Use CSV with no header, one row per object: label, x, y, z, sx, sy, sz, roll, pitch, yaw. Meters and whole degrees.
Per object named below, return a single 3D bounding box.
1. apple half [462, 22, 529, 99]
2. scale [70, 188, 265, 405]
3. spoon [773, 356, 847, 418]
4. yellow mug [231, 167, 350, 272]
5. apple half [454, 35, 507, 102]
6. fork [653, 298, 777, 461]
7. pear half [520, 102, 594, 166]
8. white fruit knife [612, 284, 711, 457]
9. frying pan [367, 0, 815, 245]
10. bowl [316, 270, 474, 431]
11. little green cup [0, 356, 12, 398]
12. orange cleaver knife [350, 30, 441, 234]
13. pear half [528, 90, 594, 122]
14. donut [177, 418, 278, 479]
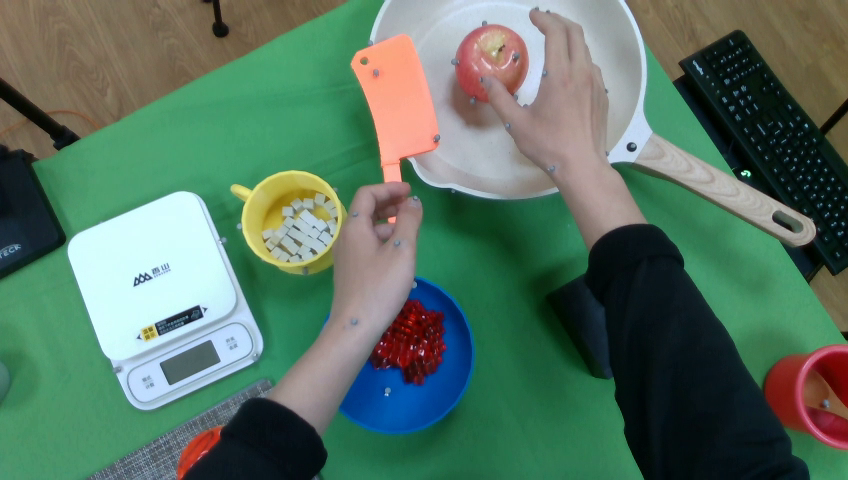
apple half,0.083,-0.199,0.658,0.053,0.075,0.080,-37,79,-10
scale,-0.269,0.057,0.637,0.149,0.031,0.200,-24,82,-4
spoon,0.416,0.177,0.569,0.041,0.022,0.191,-34,38,-6
yellow mug,-0.145,-0.027,0.635,0.130,0.064,0.100,28,82,5
apple half,0.052,-0.175,0.653,0.033,0.081,0.081,-37,82,-12
fork,0.298,0.144,0.613,0.028,0.018,0.208,-38,98,-8
pear half,0.138,-0.110,0.626,0.076,0.110,0.056,8,81,3
white fruit knife,0.237,0.133,0.607,0.016,0.027,0.208,-31,97,-4
frying pan,0.171,-0.127,0.637,0.485,0.103,0.306,33,82,13
bowl,-0.027,0.109,0.609,0.151,0.077,0.151,0,81,-1
little green cup,-0.459,0.142,0.618,0.061,0.039,0.061,0,80,0
orange cleaver knife,-0.023,-0.112,0.614,0.077,0.012,0.210,-10,81,-2
pear half,0.145,-0.142,0.641,0.070,0.088,0.031,7,81,2
donut,-0.194,0.226,0.600,0.099,0.048,0.098,0,82,1
